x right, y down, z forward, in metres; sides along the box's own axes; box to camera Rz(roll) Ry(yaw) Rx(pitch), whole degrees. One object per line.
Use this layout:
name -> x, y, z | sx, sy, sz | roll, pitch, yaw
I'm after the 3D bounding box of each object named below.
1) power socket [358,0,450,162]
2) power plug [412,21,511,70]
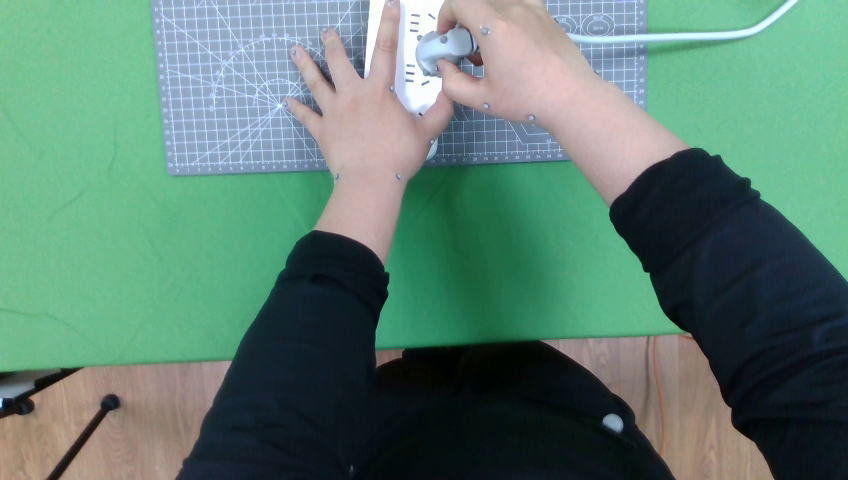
power socket -> -0.016, -0.184, 0.540 | 0.072, 0.032, 0.227 | 5, 98, -2
power plug -> 0.027, -0.151, 0.482 | 0.073, 0.052, 0.035 | 4, 88, -15
